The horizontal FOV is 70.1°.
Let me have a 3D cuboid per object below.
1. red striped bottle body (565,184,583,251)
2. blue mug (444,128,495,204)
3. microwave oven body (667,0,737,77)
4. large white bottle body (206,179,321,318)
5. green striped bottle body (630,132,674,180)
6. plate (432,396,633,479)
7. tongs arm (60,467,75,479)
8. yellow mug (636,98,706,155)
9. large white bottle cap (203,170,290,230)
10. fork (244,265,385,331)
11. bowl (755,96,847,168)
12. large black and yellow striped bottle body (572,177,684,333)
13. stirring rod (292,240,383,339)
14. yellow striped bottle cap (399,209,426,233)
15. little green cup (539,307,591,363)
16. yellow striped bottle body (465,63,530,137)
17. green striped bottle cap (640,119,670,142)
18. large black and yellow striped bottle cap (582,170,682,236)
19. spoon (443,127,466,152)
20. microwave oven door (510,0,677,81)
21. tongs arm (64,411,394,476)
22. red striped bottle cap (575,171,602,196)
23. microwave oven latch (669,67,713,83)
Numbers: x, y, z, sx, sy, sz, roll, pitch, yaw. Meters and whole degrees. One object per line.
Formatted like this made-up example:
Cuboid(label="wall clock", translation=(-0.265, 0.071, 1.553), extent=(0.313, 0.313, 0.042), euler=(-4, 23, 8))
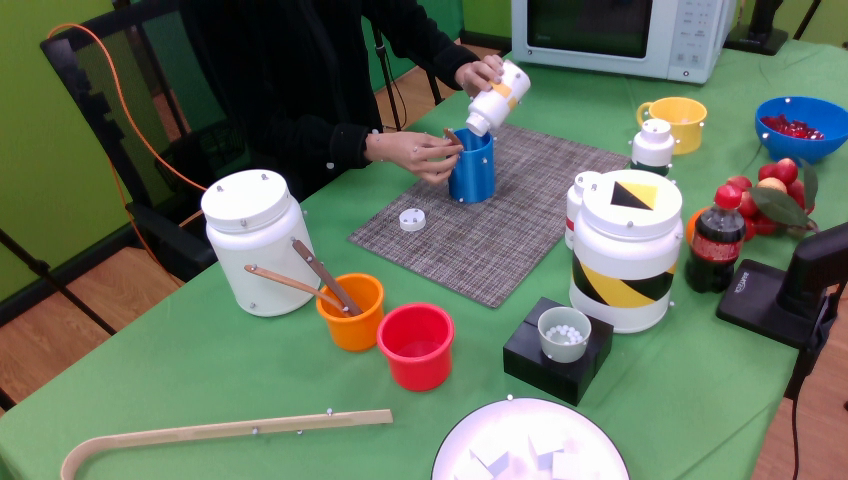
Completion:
Cuboid(label="red striped bottle body", translation=(0.247, -0.041, 0.910), extent=(0.063, 0.120, 0.062), euler=(-4, 39, 3))
Cuboid(label="blue mug", translation=(0.080, -0.139, 1.058), extent=(0.082, 0.106, 0.116), euler=(-4, 41, 3))
Cuboid(label="microwave oven body", translation=(0.462, -0.552, 1.369), extent=(0.439, 0.261, 0.326), euler=(15, 45, 26))
Cuboid(label="large white bottle body", translation=(-0.233, 0.008, 0.876), extent=(0.130, 0.185, 0.130), euler=(-5, 40, 4))
Cuboid(label="green striped bottle body", translation=(0.376, -0.135, 1.001), extent=(0.063, 0.120, 0.063), euler=(-5, 41, 5))
Cuboid(label="plate", translation=(0.112, 0.261, 0.634), extent=(0.209, 0.038, 0.208), euler=(-5, 40, 4))
Cuboid(label="tongs arm", translation=(-0.239, 0.301, 0.648), extent=(0.386, 0.028, 0.028), euler=(6, 49, 16))
Cuboid(label="yellow mug", translation=(0.453, -0.217, 1.128), extent=(0.100, 0.064, 0.129), euler=(-34, 46, -27))
Cuboid(label="large white bottle cap", translation=(-0.241, -0.057, 0.822), extent=(0.115, 0.018, 0.114), euler=(-4, 41, 4))
Cuboid(label="fork", translation=(-0.142, 0.078, 0.806), extent=(0.209, 0.018, 0.028), euler=(30, 32, -23))
Cuboid(label="bowl", translation=(0.645, -0.177, 1.041), extent=(0.151, 0.077, 0.150), euler=(-5, 40, 4))
Cuboid(label="large black and yellow striped bottle body", translation=(0.262, 0.017, 0.788), extent=(0.131, 0.185, 0.130), euler=(-5, 40, 4))
Cuboid(label="stirring rod", translation=(-0.118, 0.068, 0.826), extent=(0.176, 0.006, 0.014), euler=(49, 59, -4))
Cuboid(label="yellow striped bottle cap", translation=(-0.019, -0.032, 1.017), extent=(0.044, 0.019, 0.044), euler=(-4, 39, 4))
Cuboid(label="little green cup", translation=(0.167, 0.114, 0.721), extent=(0.061, 0.039, 0.061), euler=(-4, 43, 4))
Cuboid(label="yellow striped bottle body", translation=(0.119, -0.231, 1.016), extent=(0.062, 0.063, 0.120), euler=(34, 84, 39))
Cuboid(label="green striped bottle cap", translation=(0.371, -0.175, 0.968), extent=(0.044, 0.020, 0.044), euler=(-4, 41, 4))
Cuboid(label="large black and yellow striped bottle cap", translation=(0.252, -0.048, 0.735), extent=(0.115, 0.019, 0.114), euler=(-3, 40, 3))
Cuboid(label="spoon", translation=(0.062, -0.147, 1.000), extent=(0.041, 0.195, 0.021), euler=(25, 82, 23))
Cuboid(label="microwave oven door", translation=(0.354, -0.478, 1.290), extent=(0.353, 0.245, 0.039), euler=(15, 45, 25))
Cuboid(label="tongs arm", translation=(-0.228, 0.241, 0.715), extent=(0.385, 0.026, 0.050), euler=(-5, 43, 4))
Cuboid(label="red striped bottle cap", translation=(0.242, -0.081, 0.876), extent=(0.044, 0.018, 0.044), euler=(-5, 44, 5))
Cuboid(label="microwave oven latch", translation=(0.556, -0.348, 1.261), extent=(0.078, 0.029, 0.030), euler=(16, 46, 27))
